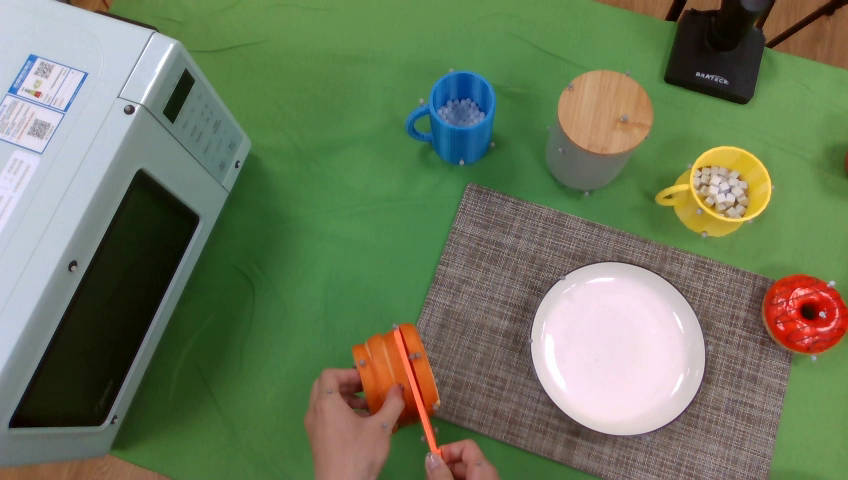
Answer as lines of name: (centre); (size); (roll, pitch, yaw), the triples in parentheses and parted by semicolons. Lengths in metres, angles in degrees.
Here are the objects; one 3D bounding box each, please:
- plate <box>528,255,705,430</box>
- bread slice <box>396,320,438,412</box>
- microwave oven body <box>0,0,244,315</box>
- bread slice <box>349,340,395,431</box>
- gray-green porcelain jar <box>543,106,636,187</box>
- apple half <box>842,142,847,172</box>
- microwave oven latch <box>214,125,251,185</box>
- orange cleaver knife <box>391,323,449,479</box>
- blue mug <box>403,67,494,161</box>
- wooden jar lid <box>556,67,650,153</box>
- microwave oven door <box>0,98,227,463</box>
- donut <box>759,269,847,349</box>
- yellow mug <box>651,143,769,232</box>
plate: (0.229, 0.123, 0.737); (0.207, 0.039, 0.206); (0, 75, 2)
bread slice: (-0.009, 0.144, 0.693); (0.019, 0.132, 0.104); (-18, 75, -7)
microwave oven body: (-0.461, -0.027, 0.682); (0.325, 0.261, 0.440); (19, 77, 6)
bread slice: (-0.059, 0.162, 0.691); (0.018, 0.135, 0.106); (-20, 72, -5)
gray-green porcelain jar: (0.209, -0.131, 0.765); (0.106, 0.127, 0.105); (0, 74, 2)
apple half: (0.559, -0.104, 0.772); (0.033, 0.081, 0.081); (-13, 74, -6)
microwave oven latch: (-0.258, -0.115, 0.800); (0.030, 0.029, 0.079); (22, 77, 7)
orange cleaver knife: (0.000, 0.183, 0.625); (0.012, 0.077, 0.210); (-18, 77, -5)
blue mug: (0.030, -0.159, 0.788); (0.116, 0.106, 0.082); (-7, 74, 0)
wooden jar lid: (0.206, -0.149, 0.705); (0.108, 0.021, 0.107); (0, 73, 2)
microwave oven door: (-0.340, 0.056, 0.651); (0.039, 0.245, 0.354); (19, 76, 7)
donut: (0.459, 0.084, 0.737); (0.099, 0.048, 0.098); (0, 76, 2)
yellow mug: (0.358, -0.064, 0.774); (0.131, 0.064, 0.099); (-5, 75, 1)
